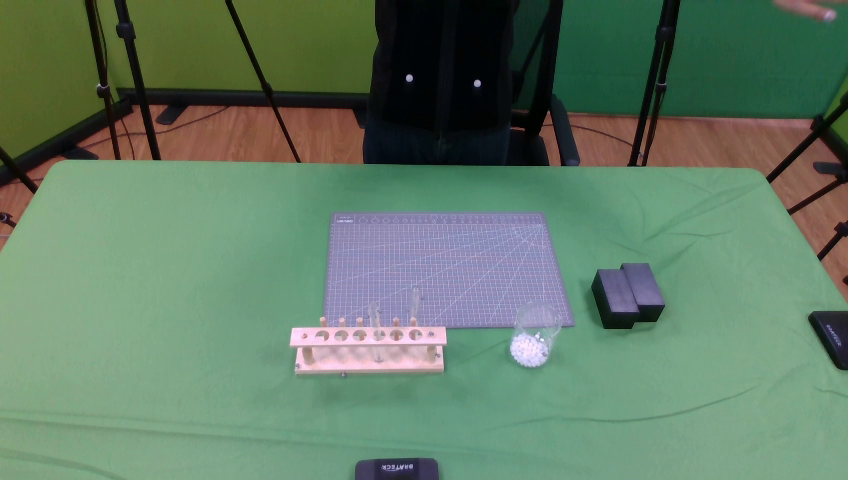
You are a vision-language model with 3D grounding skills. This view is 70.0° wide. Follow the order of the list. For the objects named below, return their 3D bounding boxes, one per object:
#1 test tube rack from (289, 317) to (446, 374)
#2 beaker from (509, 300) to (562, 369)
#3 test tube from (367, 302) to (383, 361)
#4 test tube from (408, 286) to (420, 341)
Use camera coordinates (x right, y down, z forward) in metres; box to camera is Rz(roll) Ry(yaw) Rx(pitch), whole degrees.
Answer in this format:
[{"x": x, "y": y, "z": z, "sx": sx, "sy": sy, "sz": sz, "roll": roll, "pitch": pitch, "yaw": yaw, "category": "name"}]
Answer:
[{"x": -0.089, "y": 0.167, "z": 0.988, "sx": 0.242, "sy": 0.085, "sz": 0.066, "roll": 0, "pitch": 46, "yaw": -4, "category": "test tube rack"}, {"x": 0.182, "y": 0.162, "z": 1.005, "sx": 0.074, "sy": 0.101, "sz": 0.083, "roll": -4, "pitch": 47, "yaw": -7, "category": "beaker"}, {"x": -0.075, "y": 0.145, "z": 0.941, "sx": 0.017, "sy": 0.151, "sz": 0.017, "roll": 0, "pitch": 49, "yaw": 0, "category": "test tube"}, {"x": -0.017, "y": 0.123, "z": 0.974, "sx": 0.017, "sy": 0.151, "sz": 0.017, "roll": 2, "pitch": 48, "yaw": -2, "category": "test tube"}]
